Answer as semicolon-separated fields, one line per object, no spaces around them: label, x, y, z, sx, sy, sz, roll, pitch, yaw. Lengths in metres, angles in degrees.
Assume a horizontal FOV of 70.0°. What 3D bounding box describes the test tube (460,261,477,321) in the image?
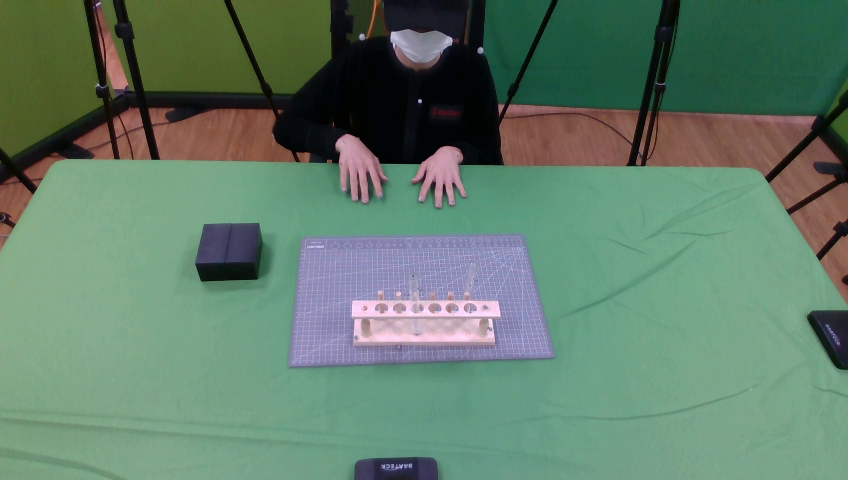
test tube;0.073;0.087;1.010;0.017;0.151;0.017;2;47;-2

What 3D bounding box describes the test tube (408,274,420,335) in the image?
test tube;-0.016;0.107;0.977;0.017;0.151;0.017;0;48;1

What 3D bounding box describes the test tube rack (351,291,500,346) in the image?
test tube rack;0.000;0.129;1.026;0.242;0.085;0.066;1;46;-4
